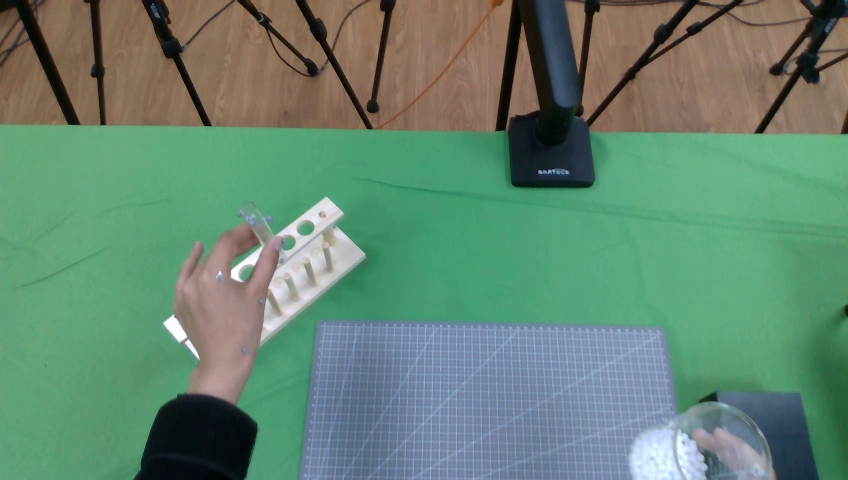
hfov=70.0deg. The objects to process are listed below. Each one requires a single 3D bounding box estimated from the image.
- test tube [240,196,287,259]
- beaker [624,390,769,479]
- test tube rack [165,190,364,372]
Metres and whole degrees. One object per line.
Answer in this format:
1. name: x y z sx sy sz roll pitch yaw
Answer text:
1. test tube: -0.154 -0.009 0.593 0.017 0.151 0.017 1 71 -2
2. beaker: 0.208 0.170 0.479 0.074 0.101 0.083 25 66 6
3. test tube rack: -0.190 0.050 0.760 0.242 0.086 0.066 -41 71 -18
